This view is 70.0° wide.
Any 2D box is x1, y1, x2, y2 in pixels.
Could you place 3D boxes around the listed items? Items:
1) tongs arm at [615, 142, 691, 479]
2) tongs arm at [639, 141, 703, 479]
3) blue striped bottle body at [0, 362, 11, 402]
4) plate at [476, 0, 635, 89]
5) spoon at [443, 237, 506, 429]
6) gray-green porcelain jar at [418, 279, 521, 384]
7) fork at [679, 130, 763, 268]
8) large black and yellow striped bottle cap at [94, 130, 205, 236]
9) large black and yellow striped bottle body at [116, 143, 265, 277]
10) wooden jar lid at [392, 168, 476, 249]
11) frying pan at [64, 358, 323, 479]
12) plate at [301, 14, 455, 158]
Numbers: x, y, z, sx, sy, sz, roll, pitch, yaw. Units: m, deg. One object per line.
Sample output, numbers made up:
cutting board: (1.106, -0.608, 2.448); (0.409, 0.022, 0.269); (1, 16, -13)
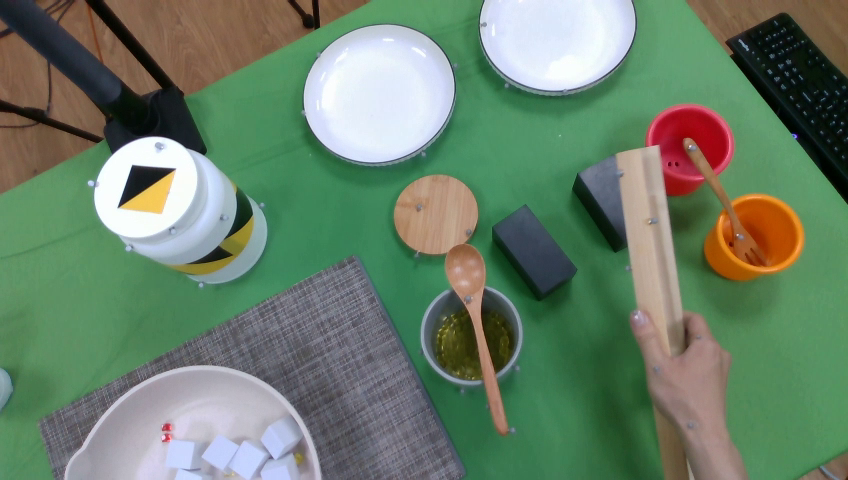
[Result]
tongs arm: (0.241, 0.093, 0.620); (0.026, 0.051, 0.384); (-8, 90, 33)
tongs arm: (0.252, 0.089, 0.637); (0.027, 0.028, 0.388); (-9, 95, 29)
blue striped bottle body: (-0.569, 0.170, 0.728); (0.063, 0.121, 0.062); (-2, 74, 6)
plate: (0.175, -0.294, 0.816); (0.209, 0.038, 0.208); (-2, 75, 6)
spoon: (0.054, 0.091, 0.606); (0.041, 0.022, 0.192); (-11, 77, -2)
gray-green porcelain jar: (0.053, 0.106, 0.676); (0.106, 0.127, 0.105); (-2, 74, 6)
fork: (0.331, -0.043, 0.673); (0.028, 0.018, 0.209); (-41, 119, 3)
large black and yellow striped bottle cap: (-0.290, -0.061, 0.640); (0.115, 0.019, 0.114); (-1, 76, 6)
large black and yellow striped bottle body: (-0.282, -0.037, 0.721); (0.130, 0.185, 0.130); (-2, 74, 6)
wooden jar lid: (0.013, -0.039, 0.775); (0.108, 0.021, 0.108); (-1, 76, 5)
frying pan: (-0.275, 0.376, 0.646); (0.306, 0.103, 0.485); (12, 68, 10)
plate: (-0.060, -0.204, 0.818); (0.207, 0.039, 0.206); (-2, 75, 6)
